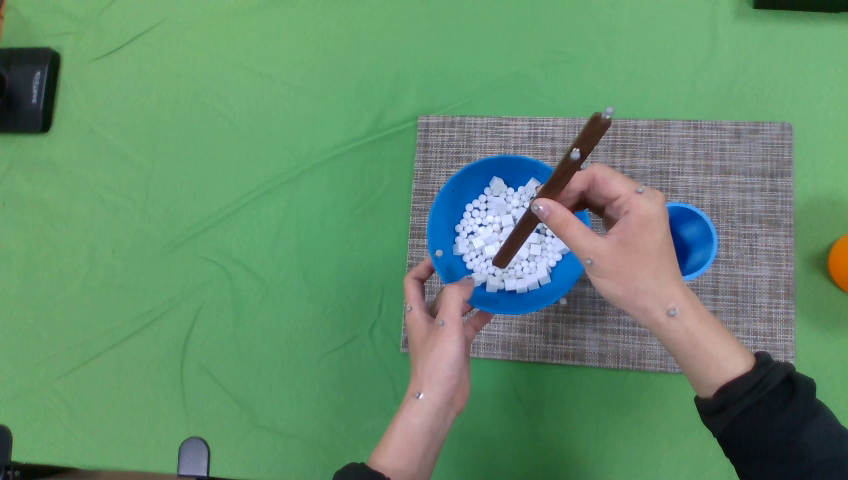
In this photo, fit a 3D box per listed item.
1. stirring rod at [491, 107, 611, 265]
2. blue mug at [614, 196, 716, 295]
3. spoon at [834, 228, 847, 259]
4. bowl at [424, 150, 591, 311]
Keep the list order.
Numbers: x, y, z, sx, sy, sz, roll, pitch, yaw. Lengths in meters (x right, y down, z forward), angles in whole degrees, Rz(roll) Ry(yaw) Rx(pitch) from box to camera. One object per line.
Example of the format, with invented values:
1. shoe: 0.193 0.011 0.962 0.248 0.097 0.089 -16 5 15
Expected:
1. stirring rod: 0.088 -0.032 0.450 0.014 0.177 0.005 18 50 -7
2. blue mug: 0.250 0.015 0.665 0.082 0.106 0.116 41 89 11
3. spoon: 0.525 0.017 0.613 0.022 0.192 0.041 28 84 -34
4. bowl: 0.078 -0.003 0.584 0.151 0.077 0.151 0 80 2
